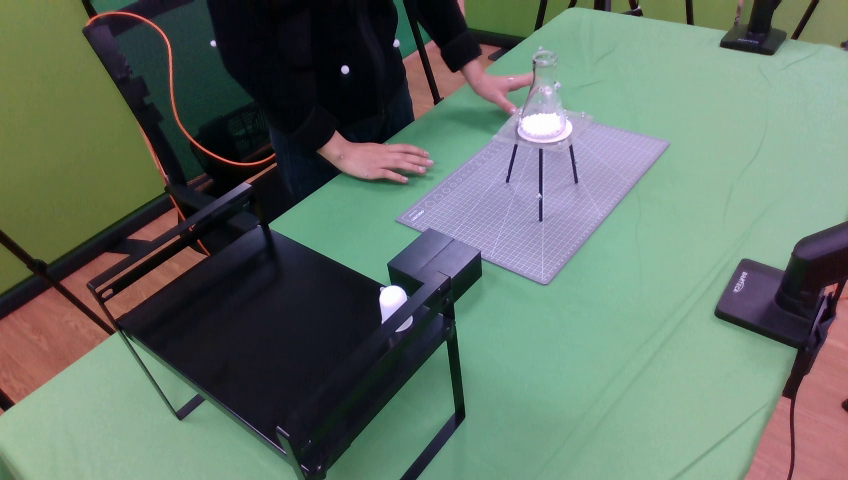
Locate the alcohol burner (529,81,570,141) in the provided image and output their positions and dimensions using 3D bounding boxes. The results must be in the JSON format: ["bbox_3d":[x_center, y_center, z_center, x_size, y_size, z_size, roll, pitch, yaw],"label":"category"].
[{"bbox_3d":[0.241,-0.251,1.159,0.078,0.119,0.077,-4,42,4],"label":"alcohol burner"}]

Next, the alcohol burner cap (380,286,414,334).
[{"bbox_3d":[-0.029,0.067,0.605,0.034,0.048,0.033,-5,40,4],"label":"alcohol burner cap"}]

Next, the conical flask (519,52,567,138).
[{"bbox_3d":[0.183,-0.223,0.926,0.075,0.122,0.075,-4,41,4],"label":"conical flask"}]

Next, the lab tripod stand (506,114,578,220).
[{"bbox_3d":[0.198,-0.128,1.005,0.148,0.132,0.147,-3,42,3],"label":"lab tripod stand"}]

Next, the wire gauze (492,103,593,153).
[{"bbox_3d":[0.191,-0.179,0.965,0.120,0.011,0.125,17,49,29],"label":"wire gauze"}]
